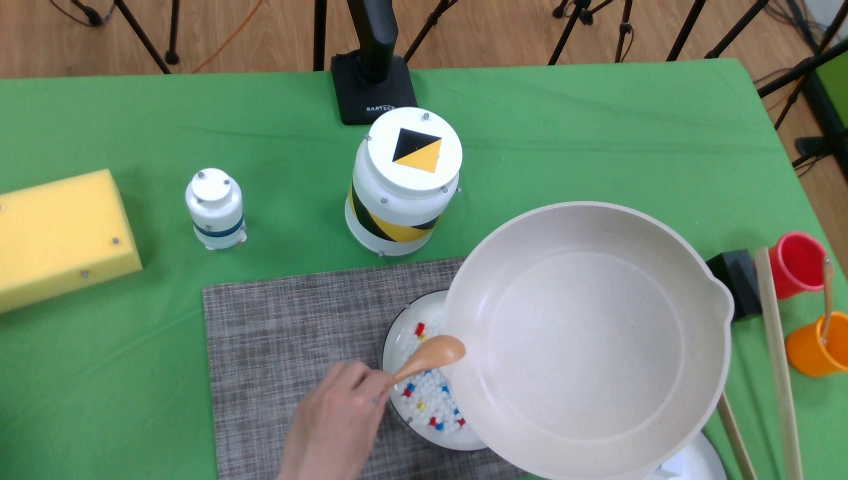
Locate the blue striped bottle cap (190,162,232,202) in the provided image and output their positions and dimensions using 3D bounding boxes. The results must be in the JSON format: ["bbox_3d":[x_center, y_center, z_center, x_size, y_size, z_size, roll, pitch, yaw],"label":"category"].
[{"bbox_3d":[-0.247,-0.068,0.701,0.045,0.021,0.044,5,64,-10],"label":"blue striped bottle cap"}]

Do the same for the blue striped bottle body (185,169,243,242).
[{"bbox_3d":[-0.258,-0.048,0.748,0.063,0.121,0.062,5,66,-12],"label":"blue striped bottle body"}]

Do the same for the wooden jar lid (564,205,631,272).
[{"bbox_3d":[0.262,-0.001,0.921,0.109,0.021,0.107,5,68,-12],"label":"wooden jar lid"}]

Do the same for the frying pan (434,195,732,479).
[{"bbox_3d":[0.171,0.187,0.600,0.306,0.104,0.483,-15,60,17],"label":"frying pan"}]

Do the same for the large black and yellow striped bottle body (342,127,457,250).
[{"bbox_3d":[-0.033,-0.078,0.785,0.131,0.184,0.130,6,66,-12],"label":"large black and yellow striped bottle body"}]

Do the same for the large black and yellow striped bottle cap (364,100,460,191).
[{"bbox_3d":[-0.013,-0.112,0.711,0.115,0.019,0.114,5,68,-13],"label":"large black and yellow striped bottle cap"}]

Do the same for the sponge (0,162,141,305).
[{"bbox_3d":[-0.459,-0.003,0.709,0.207,0.061,0.117,-20,74,-22],"label":"sponge"}]

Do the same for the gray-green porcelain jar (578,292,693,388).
[{"bbox_3d":[0.273,0.138,0.806,0.106,0.127,0.105,5,66,-12],"label":"gray-green porcelain jar"}]

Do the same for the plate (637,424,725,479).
[{"bbox_3d":[0.291,0.311,0.788,0.208,0.039,0.206,6,66,-12],"label":"plate"}]

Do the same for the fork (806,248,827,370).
[{"bbox_3d":[0.578,0.104,0.886,0.028,0.018,0.209,-20,118,-13],"label":"fork"}]

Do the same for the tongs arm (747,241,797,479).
[{"bbox_3d":[0.492,0.191,0.860,0.028,0.028,0.385,4,77,-21],"label":"tongs arm"}]

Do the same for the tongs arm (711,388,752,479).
[{"bbox_3d":[0.411,0.200,0.835,0.051,0.026,0.383,-11,81,-20],"label":"tongs arm"}]

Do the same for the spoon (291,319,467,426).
[{"bbox_3d":[-0.042,0.133,0.600,0.194,0.022,0.041,-31,50,-11],"label":"spoon"}]

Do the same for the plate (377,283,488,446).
[{"bbox_3d":[0.040,0.157,0.782,0.210,0.038,0.207,5,67,-12],"label":"plate"}]
